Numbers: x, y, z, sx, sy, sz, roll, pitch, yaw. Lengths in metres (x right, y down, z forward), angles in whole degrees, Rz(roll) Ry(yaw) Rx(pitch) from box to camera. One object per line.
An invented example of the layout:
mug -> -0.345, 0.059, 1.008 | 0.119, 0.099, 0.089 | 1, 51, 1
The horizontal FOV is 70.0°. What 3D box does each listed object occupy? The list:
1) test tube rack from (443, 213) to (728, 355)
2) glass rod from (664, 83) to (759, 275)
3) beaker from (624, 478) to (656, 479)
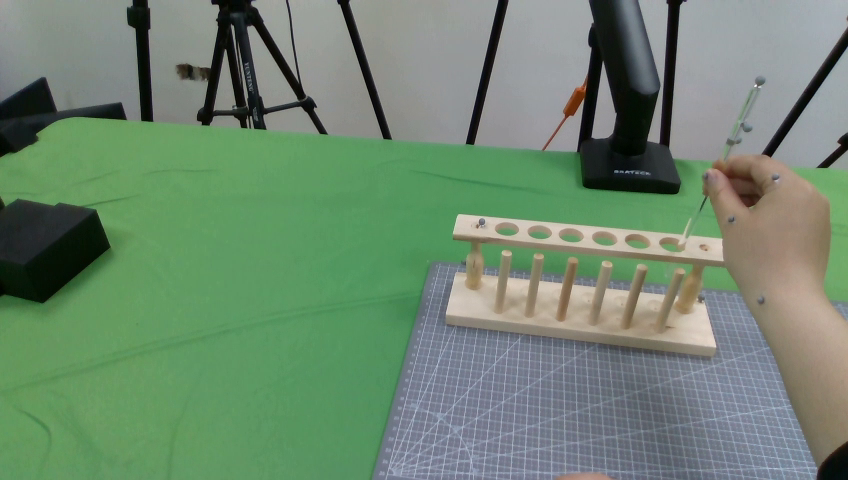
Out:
test tube rack -> 0.142, 0.039, 0.561 | 0.242, 0.086, 0.066 | 6, 37, 8
glass rod -> 0.225, -0.037, 0.486 | 0.008, 0.201, 0.008 | 0, 47, 0
beaker -> 0.113, 0.194, 0.333 | 0.084, 0.101, 0.073 | -1, 34, -9
